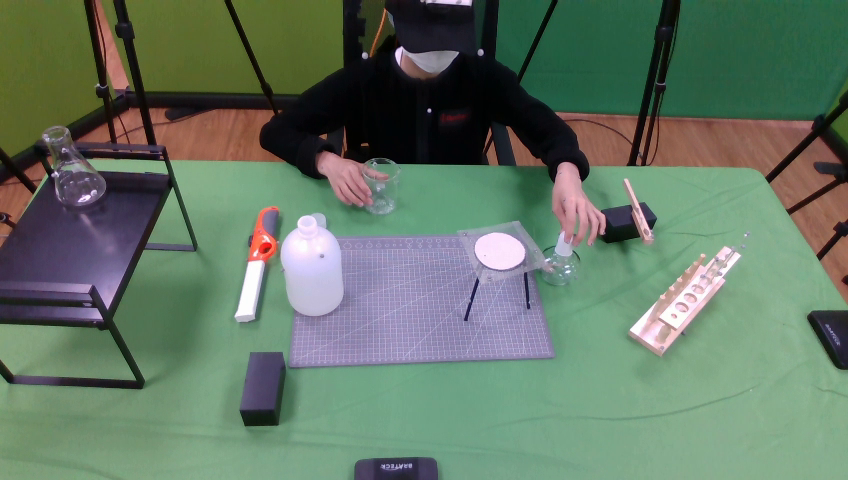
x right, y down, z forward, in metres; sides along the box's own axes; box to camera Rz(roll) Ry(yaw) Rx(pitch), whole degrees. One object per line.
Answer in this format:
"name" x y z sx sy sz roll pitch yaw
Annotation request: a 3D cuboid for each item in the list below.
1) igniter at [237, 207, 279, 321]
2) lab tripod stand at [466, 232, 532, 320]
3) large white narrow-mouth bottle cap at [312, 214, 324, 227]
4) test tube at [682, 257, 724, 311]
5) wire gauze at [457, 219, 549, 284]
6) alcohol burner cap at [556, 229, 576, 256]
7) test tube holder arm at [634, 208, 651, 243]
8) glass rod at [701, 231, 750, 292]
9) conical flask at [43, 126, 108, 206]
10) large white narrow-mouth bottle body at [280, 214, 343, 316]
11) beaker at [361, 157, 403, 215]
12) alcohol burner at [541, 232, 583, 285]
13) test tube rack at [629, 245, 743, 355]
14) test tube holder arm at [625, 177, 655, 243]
"igniter" -0.309 0.036 1.137 0.057 0.025 0.274 -6 46 5
"lab tripod stand" 0.125 0.059 1.065 0.148 0.132 0.147 1 45 0
"large white narrow-mouth bottle cap" -0.219 -0.033 1.214 0.038 0.024 0.037 2 46 -2
"test tube" 0.475 0.080 1.037 0.017 0.151 0.017 2 51 -2
"wire gauze" 0.131 0.014 1.016 0.121 0.011 0.124 -12 46 -14
"alcohol burner cap" 0.260 0.002 1.098 0.034 0.048 0.033 3 40 -2
"test tube holder arm" 0.428 -0.030 1.189 0.010 0.015 0.087 1 47 -2
"glass rod" 0.519 0.045 1.050 0.008 0.201 0.008 0 55 0
"conical flask" -0.555 -0.119 0.953 0.075 0.122 0.075 2 46 -2
"large white narrow-mouth bottle body" -0.190 0.035 1.025 0.102 0.195 0.101 2 46 -2
"beaker" -0.086 -0.108 1.241 0.084 0.101 0.073 -8 48 -13
"alcohol burner" 0.259 0.028 1.123 0.078 0.120 0.077 1 48 -1
"test tube rack" 0.474 0.095 1.091 0.242 0.085 0.066 -34 56 -31
"test tube holder arm" 0.433 -0.062 1.220 0.013 0.015 0.177 1 47 -3
